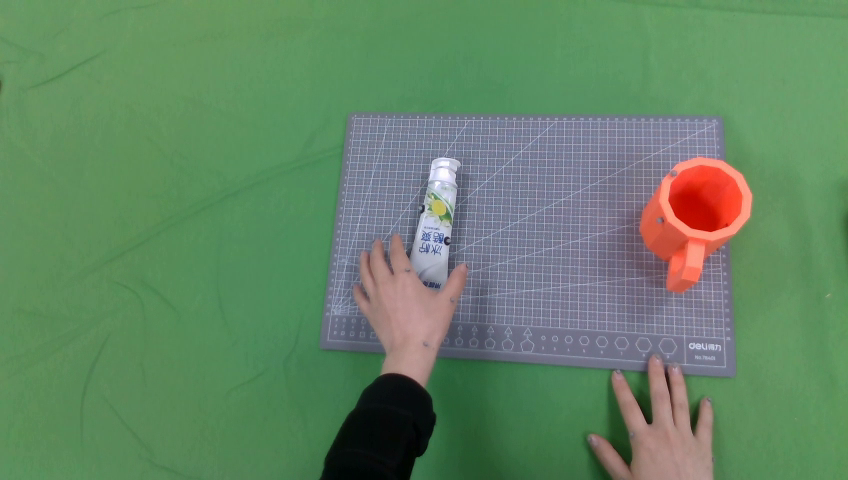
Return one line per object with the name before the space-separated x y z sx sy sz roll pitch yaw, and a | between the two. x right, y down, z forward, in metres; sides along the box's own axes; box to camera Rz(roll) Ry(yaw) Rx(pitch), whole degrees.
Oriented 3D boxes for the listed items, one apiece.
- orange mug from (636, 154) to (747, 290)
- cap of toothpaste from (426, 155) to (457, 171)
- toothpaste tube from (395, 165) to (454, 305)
orange mug | 0.272 -0.014 0.629 0.083 0.101 0.125 11 71 11
cap of toothpaste | 0.021 -0.089 0.712 0.037 0.037 0.011 -1 73 7
toothpaste tube | 0.005 -0.010 0.699 0.055 0.035 0.164 7 80 15
